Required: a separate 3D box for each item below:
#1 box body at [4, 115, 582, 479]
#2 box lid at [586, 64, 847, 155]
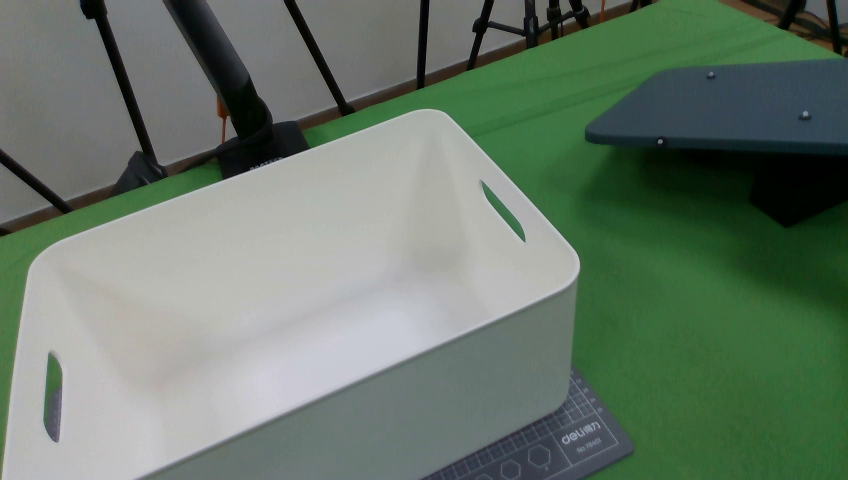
[{"bbox_3d":[-0.089,0.074,0.483,0.364,0.162,0.251,-22,42,-11],"label":"box body"},{"bbox_3d":[0.376,-0.136,0.607,0.369,0.015,0.263,7,31,38],"label":"box lid"}]
